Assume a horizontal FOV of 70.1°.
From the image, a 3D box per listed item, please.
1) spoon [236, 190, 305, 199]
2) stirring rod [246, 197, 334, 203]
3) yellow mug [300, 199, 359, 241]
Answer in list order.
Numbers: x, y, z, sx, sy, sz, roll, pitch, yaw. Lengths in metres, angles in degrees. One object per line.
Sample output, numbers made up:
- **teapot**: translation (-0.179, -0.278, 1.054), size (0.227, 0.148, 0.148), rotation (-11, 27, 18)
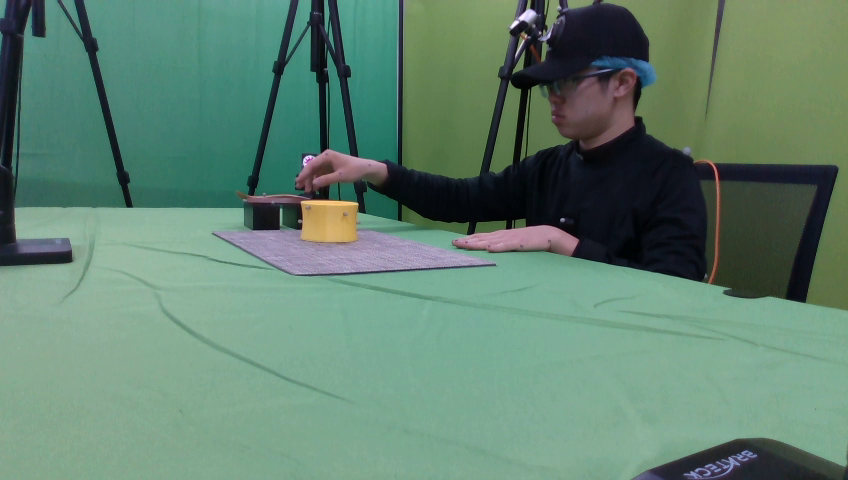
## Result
- **spoon**: translation (-0.290, -0.088, 1.248), size (0.195, 0.021, 0.041), rotation (0, 6, -32)
- **stirring rod**: translation (-0.263, -0.079, 1.200), size (0.177, 0.006, 0.014), rotation (-2, 46, -29)
- **yellow mug**: translation (-0.156, -0.036, 1.060), size (0.099, 0.064, 0.131), rotation (6, 7, 27)
